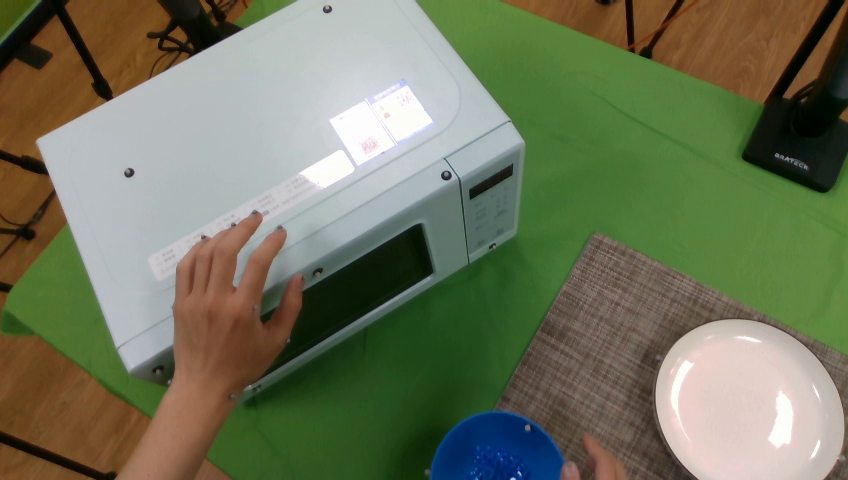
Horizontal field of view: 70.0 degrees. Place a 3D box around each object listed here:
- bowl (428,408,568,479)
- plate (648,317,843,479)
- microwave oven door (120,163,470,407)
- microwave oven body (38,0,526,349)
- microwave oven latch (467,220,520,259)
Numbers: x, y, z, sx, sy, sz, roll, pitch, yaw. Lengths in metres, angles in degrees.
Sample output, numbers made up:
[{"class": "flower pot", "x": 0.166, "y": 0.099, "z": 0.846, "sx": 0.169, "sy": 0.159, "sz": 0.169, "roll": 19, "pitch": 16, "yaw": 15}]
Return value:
[{"class": "bowl", "x": 0.083, "y": 0.271, "z": 0.683, "sx": 0.151, "sy": 0.077, "sz": 0.150, "roll": -2, "pitch": 68, "yaw": 6}, {"class": "plate", "x": 0.365, "y": 0.194, "z": 0.702, "sx": 0.207, "sy": 0.039, "sz": 0.206, "roll": -2, "pitch": 68, "yaw": 5}, {"class": "microwave oven door", "x": -0.112, "y": 0.063, "z": 0.679, "sx": 0.356, "sy": 0.246, "sz": 0.039, "roll": -31, "pitch": 67, "yaw": -7}, {"class": "microwave oven body", "x": -0.149, "y": -0.069, "z": 0.742, "sx": 0.442, "sy": 0.262, "sz": 0.323, "roll": -31, "pitch": 69, "yaw": -6}, {"class": "microwave oven latch", "x": 0.088, "y": -0.008, "z": 0.797, "sx": 0.079, "sy": 0.030, "sz": 0.030, "roll": -29, "pitch": 68, "yaw": -5}]
